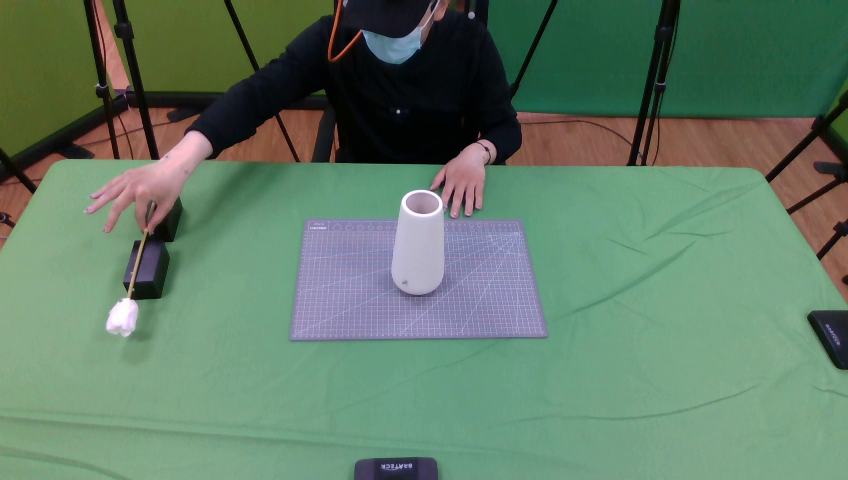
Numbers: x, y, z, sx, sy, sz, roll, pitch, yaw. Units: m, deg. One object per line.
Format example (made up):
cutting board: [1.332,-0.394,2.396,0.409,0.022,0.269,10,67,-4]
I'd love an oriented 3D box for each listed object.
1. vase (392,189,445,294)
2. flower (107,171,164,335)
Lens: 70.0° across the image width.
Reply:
vase: [-0.007,0.007,1.060,0.098,0.201,0.097,2,48,-2]
flower: [-0.502,0.006,1.084,0.044,0.038,0.359,-7,52,2]
